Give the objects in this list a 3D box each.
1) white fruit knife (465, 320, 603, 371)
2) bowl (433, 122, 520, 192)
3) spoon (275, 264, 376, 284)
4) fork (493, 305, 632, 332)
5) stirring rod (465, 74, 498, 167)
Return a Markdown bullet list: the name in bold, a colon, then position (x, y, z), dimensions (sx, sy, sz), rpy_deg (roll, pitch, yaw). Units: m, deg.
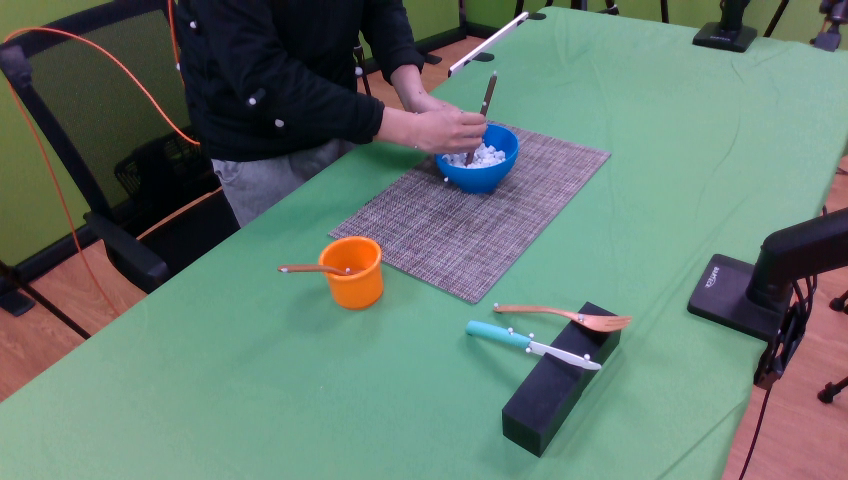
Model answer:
- **white fruit knife**: position (0.128, 0.129, 0.749), dimensions (0.205, 0.027, 0.016), rpy_deg (10, 44, 43)
- **bowl**: position (0.093, -0.137, 1.064), dimensions (0.151, 0.077, 0.150), rpy_deg (-4, 41, 4)
- **spoon**: position (-0.133, 0.044, 0.839), dimensions (0.041, 0.195, 0.021), rpy_deg (24, 95, 33)
- **fork**: position (0.171, 0.097, 0.783), dimensions (0.205, 0.019, 0.028), rpy_deg (4, 40, 43)
- **stirring rod**: position (0.097, -0.200, 1.039), dimensions (0.014, 0.176, 0.006), rpy_deg (-20, 46, -43)
